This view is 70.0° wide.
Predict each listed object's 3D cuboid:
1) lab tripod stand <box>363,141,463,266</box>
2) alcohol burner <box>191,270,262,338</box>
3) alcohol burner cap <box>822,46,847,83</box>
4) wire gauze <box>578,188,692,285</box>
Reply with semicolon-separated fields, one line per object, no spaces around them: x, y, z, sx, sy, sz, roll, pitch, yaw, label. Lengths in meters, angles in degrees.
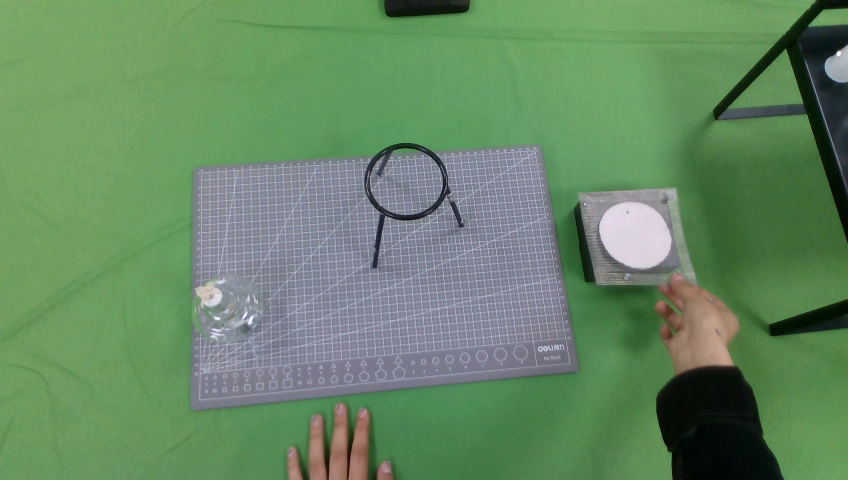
-0.025;-0.048;0.701;0.148;0.132;0.147;0;73;-1;lab tripod stand
-0.220;0.067;0.664;0.078;0.119;0.077;1;74;-3;alcohol burner
0.448;-0.190;0.634;0.034;0.048;0.033;1;75;-2;alcohol burner cap
0.251;-0.005;0.720;0.125;0.011;0.120;0;70;-8;wire gauze
